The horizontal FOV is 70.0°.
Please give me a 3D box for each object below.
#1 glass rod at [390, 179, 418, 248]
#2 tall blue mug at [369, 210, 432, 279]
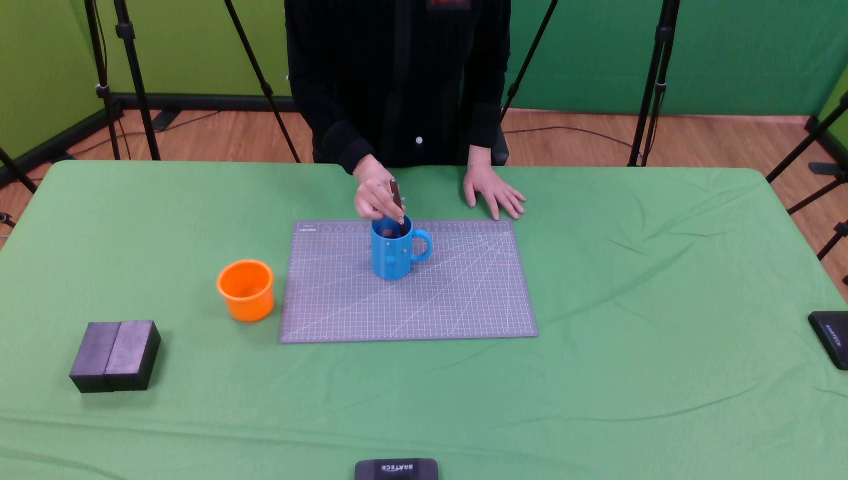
[{"bbox_3d":[-0.035,-0.043,1.078,0.008,0.201,0.008,-7,54,9],"label":"glass rod"},{"bbox_3d":[-0.048,0.005,1.125,0.107,0.108,0.077,-19,50,-21],"label":"tall blue mug"}]
